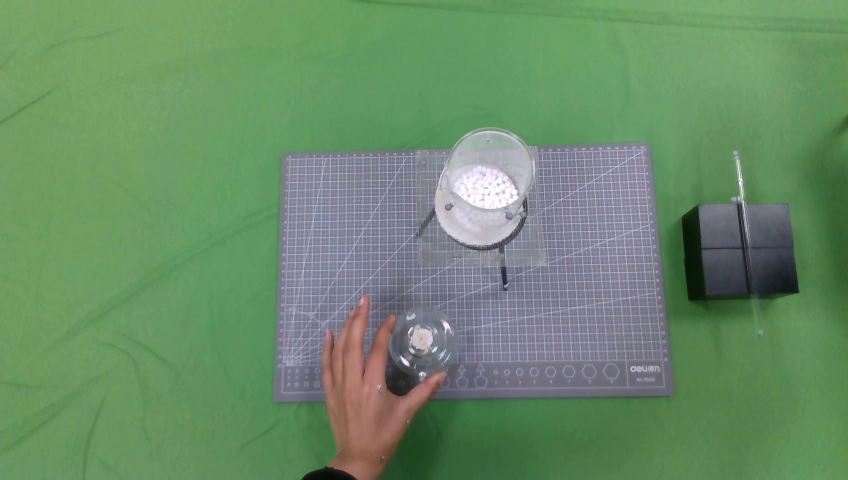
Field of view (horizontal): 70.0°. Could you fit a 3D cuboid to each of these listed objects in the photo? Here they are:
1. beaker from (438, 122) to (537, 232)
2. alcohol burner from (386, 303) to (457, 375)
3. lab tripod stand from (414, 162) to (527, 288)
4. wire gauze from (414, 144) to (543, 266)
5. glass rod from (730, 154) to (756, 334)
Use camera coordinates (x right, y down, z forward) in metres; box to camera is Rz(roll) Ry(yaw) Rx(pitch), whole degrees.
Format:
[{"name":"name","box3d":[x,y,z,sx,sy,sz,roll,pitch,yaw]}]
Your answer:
[{"name":"beaker","box3d":[0.053,-0.049,0.544,0.084,0.100,0.073,-17,78,-2]},{"name":"alcohol burner","box3d":[-0.003,0.104,0.641,0.078,0.119,0.077,0,79,1]},{"name":"lab tripod stand","box3d":[0.059,-0.025,0.655,0.148,0.132,0.147,-1,76,2]},{"name":"wire gauze","box3d":[0.053,-0.035,0.590,0.125,0.011,0.121,0,79,-1]},{"name":"glass rod","box3d":[0.347,0.002,0.659,0.008,0.008,0.199,-1,79,2]}]
